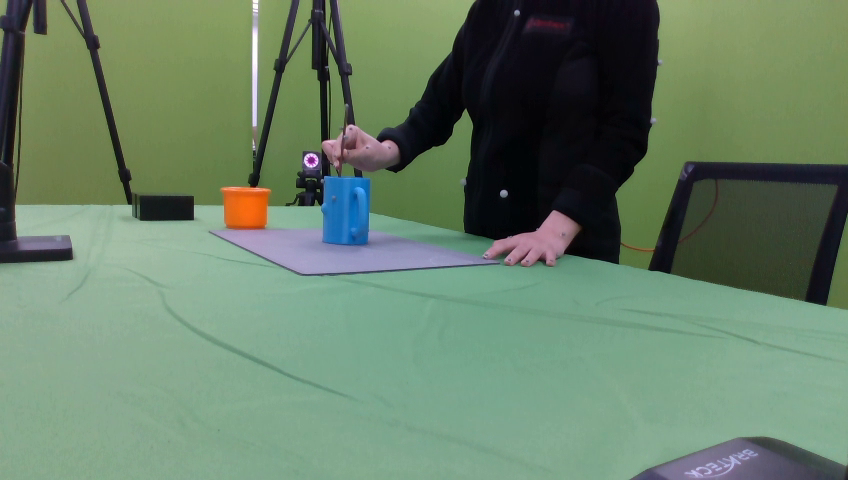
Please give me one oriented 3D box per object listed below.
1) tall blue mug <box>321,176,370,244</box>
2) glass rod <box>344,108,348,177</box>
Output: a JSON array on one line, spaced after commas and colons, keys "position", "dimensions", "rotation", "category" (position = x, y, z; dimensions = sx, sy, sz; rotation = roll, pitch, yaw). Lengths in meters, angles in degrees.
[{"position": [-0.116, -0.049, 0.990], "dimensions": [0.106, 0.108, 0.078], "rotation": [7, 8, 33], "category": "tall blue mug"}, {"position": [-0.130, -0.119, 1.000], "dimensions": [0.008, 0.199, 0.008], "rotation": [0, 2, 0], "category": "glass rod"}]
